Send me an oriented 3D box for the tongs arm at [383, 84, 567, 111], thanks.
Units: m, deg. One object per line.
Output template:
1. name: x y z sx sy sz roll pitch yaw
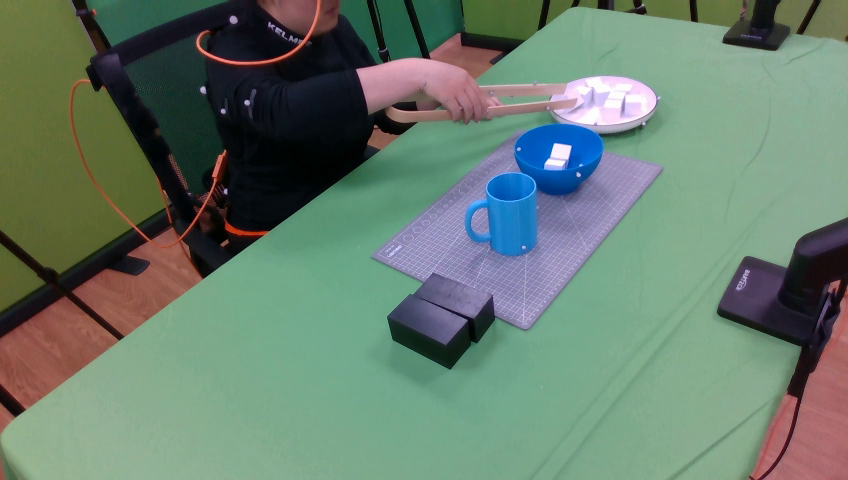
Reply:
1. tongs arm: 0.107 -0.272 1.156 0.387 0.026 0.050 -4 53 -17

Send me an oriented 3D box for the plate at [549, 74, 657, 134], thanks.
1. plate: 0.357 -0.270 1.219 0.209 0.038 0.208 -5 42 5

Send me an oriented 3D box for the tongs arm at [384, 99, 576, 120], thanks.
1. tongs arm: 0.116 -0.250 1.139 0.390 0.028 0.028 -7 57 -19

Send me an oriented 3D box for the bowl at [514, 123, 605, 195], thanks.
1. bowl: 0.232 -0.131 1.046 0.151 0.077 0.150 -5 40 5

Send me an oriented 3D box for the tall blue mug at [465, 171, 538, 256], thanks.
1. tall blue mug: 0.125 -0.033 0.925 0.107 0.108 0.077 -32 46 -25
